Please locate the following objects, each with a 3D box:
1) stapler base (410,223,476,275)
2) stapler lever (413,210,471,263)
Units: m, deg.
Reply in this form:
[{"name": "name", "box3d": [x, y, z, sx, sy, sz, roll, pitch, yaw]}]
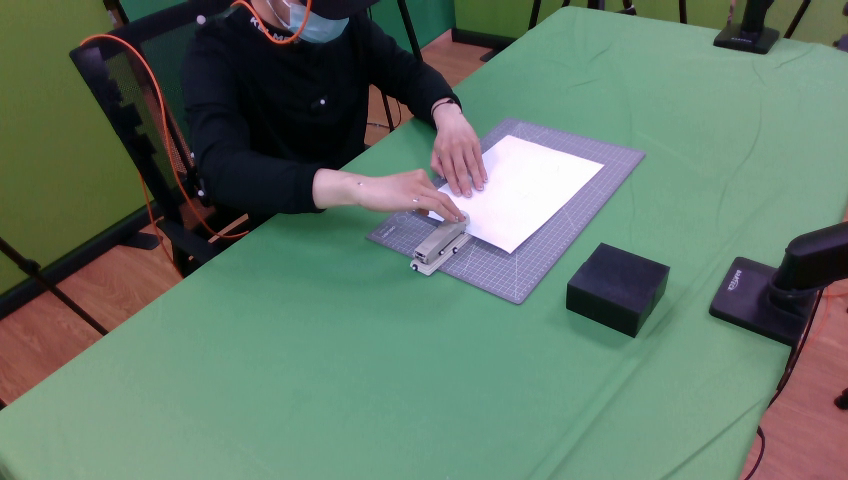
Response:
[{"name": "stapler base", "box3d": [0.032, 0.003, 0.955, 0.041, 0.024, 0.131, 26, 53, 32]}, {"name": "stapler lever", "box3d": [0.031, -0.008, 0.943, 0.026, 0.040, 0.118, 26, 44, 32]}]
